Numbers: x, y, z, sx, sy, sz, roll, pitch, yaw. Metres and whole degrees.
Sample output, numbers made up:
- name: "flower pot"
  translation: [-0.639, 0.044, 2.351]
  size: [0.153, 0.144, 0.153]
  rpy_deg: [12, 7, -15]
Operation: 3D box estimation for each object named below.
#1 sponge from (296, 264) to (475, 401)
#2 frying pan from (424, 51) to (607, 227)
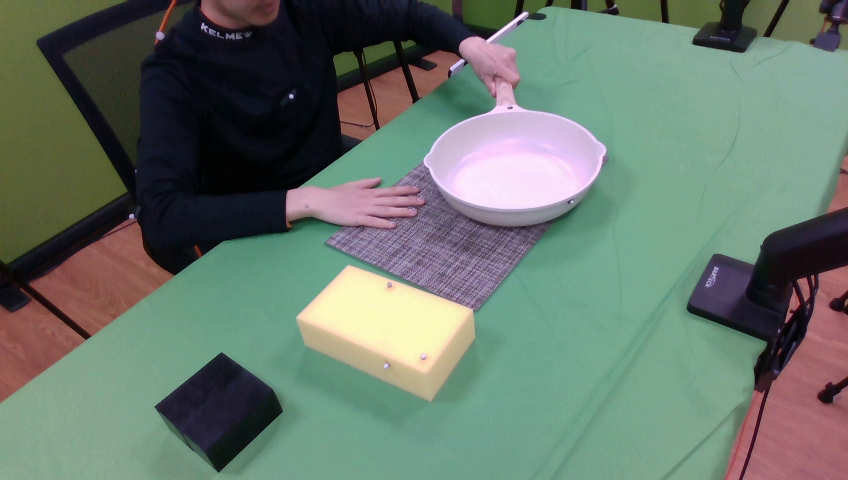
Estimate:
- name: "sponge"
  translation: [-0.050, 0.118, 0.811]
  size: [0.205, 0.061, 0.118]
  rpy_deg: [17, 47, 26]
- name: "frying pan"
  translation: [0.158, -0.204, 1.106]
  size: [0.307, 0.103, 0.485]
  rpy_deg: [-2, 51, 4]
